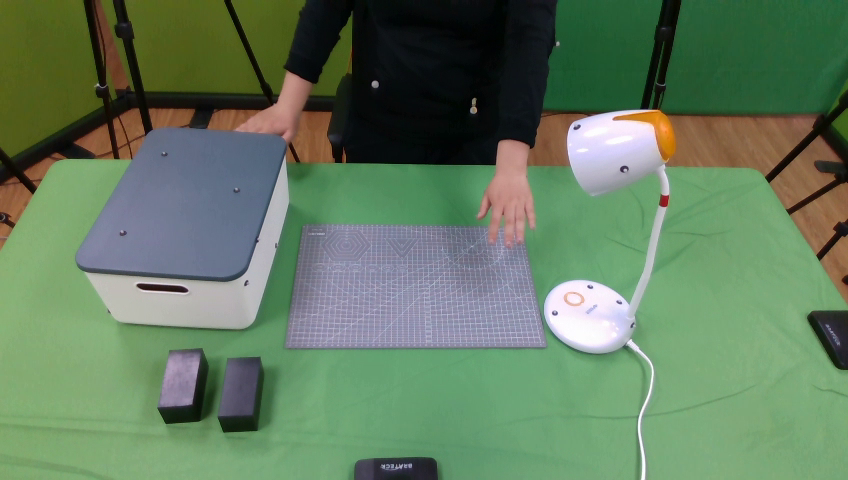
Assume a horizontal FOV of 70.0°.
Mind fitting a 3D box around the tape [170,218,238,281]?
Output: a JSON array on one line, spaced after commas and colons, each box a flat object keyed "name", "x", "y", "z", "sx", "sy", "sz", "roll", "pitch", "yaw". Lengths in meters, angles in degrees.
[{"name": "tape", "x": -0.406, "y": 0.017, "z": 1.121, "sx": 0.117, "sy": 0.053, "sz": 0.116, "roll": 2, "pitch": 46, "yaw": -2}]

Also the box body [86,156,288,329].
[{"name": "box body", "x": -0.401, "y": -0.025, "z": 1.094, "sx": 0.254, "sy": 0.161, "sz": 0.362, "roll": 3, "pitch": 46, "yaw": -1}]

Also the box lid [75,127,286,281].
[{"name": "box lid", "x": -0.398, "y": -0.075, "z": 1.039, "sx": 0.263, "sy": 0.015, "sz": 0.369, "roll": 4, "pitch": 45, "yaw": -1}]

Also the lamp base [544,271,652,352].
[{"name": "lamp base", "x": 0.309, "y": 0.086, "z": 1.029, "sx": 0.178, "sy": 0.181, "sz": 0.160, "roll": 32, "pitch": 52, "yaw": 21}]

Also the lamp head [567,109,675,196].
[{"name": "lamp head", "x": 0.272, "y": -0.123, "z": 0.818, "sx": 0.122, "sy": 0.113, "sz": 0.112, "roll": -9, "pitch": 35, "yaw": 37}]
